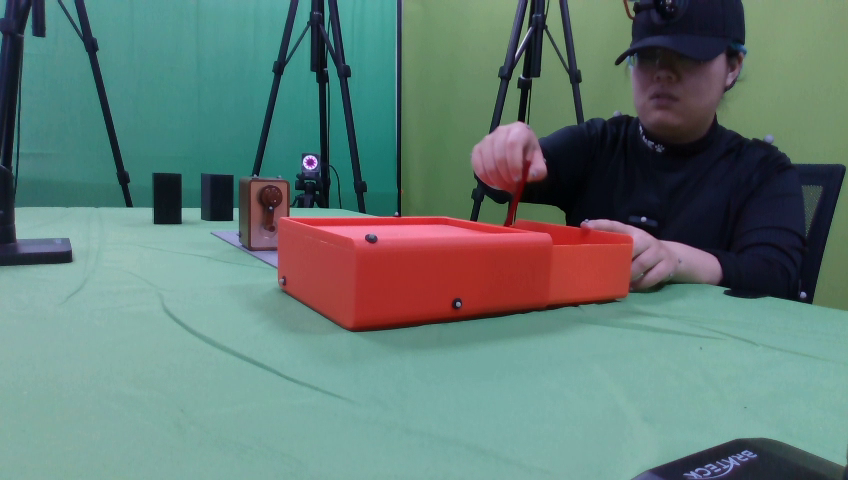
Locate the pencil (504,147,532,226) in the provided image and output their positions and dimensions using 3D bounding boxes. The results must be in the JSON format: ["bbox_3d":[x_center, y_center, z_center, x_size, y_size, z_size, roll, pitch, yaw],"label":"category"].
[{"bbox_3d":[0.101,-0.030,0.711,0.012,0.194,0.012,6,43,-5],"label":"pencil"}]

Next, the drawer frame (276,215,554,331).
[{"bbox_3d":[-0.015,0.022,0.610,0.215,0.082,0.200,-2,9,-32],"label":"drawer frame"}]

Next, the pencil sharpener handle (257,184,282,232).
[{"bbox_3d":[-0.219,-0.046,0.865,0.036,0.067,0.030,5,5,-29],"label":"pencil sharpener handle"}]

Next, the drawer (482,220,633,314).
[{"bbox_3d":[0.086,0.022,0.673,0.213,0.073,0.193,-3,9,-32],"label":"drawer"}]

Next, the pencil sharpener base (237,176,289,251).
[{"bbox_3d":[-0.243,-0.040,0.911,0.061,0.107,0.076,-1,8,-29],"label":"pencil sharpener base"}]
